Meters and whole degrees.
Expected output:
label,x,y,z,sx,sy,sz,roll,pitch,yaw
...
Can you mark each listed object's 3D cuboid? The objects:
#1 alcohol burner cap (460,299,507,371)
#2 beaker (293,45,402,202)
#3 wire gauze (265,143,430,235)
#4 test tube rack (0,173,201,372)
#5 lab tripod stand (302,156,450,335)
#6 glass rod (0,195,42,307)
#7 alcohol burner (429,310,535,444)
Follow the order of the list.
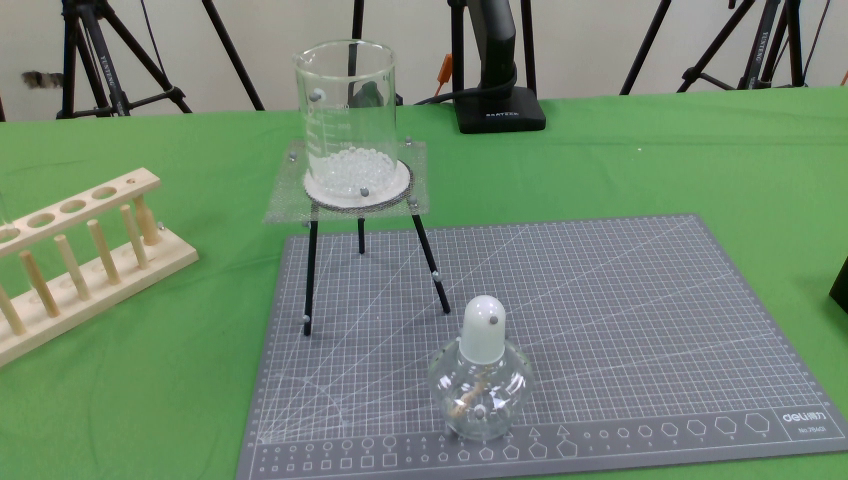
label,x,y,z,sx,sy,sz,roll,pitch,yaw
alcohol burner cap,0.042,0.061,0.409,0.034,0.048,0.033,1,39,-1
beaker,-0.058,-0.087,0.460,0.083,0.101,0.074,22,42,25
wire gauze,-0.057,-0.047,0.488,0.121,0.011,0.124,-1,39,-1
test tube rack,-0.335,0.033,0.545,0.066,0.086,0.242,28,46,33
lab tripod stand,-0.047,0.004,0.530,0.148,0.132,0.147,0,36,0
glass rod,-0.359,-0.026,0.514,0.008,0.201,0.008,0,30,0
alcohol burner,0.042,0.090,0.431,0.078,0.120,0.077,0,39,1
